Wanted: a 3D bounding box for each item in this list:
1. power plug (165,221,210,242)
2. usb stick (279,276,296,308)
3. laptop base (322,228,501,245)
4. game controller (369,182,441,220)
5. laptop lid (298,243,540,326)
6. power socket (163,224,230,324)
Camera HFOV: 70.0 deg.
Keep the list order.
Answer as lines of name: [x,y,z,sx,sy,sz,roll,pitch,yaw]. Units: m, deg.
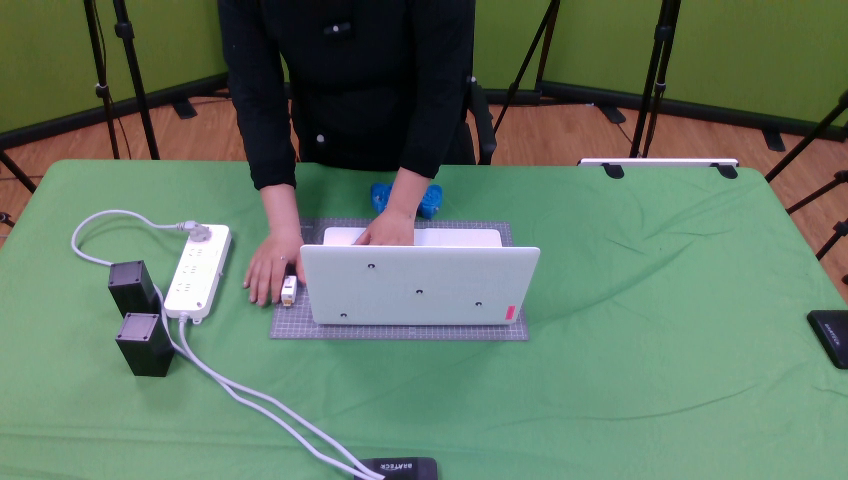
power plug: [-0.440,-0.015,1.142,0.072,0.053,0.035,6,46,8]
usb stick: [-0.244,0.094,1.079,0.021,0.027,0.059,2,49,-2]
laptop base: [-0.020,0.065,1.135,0.355,0.023,0.234,0,43,-4]
game controller: [-0.039,-0.090,1.267,0.155,0.052,0.096,2,49,-2]
laptop lid: [-0.010,0.077,0.957,0.357,0.243,0.013,1,53,-5]
power socket: [-0.411,0.053,1.106,0.072,0.033,0.225,3,46,-3]
